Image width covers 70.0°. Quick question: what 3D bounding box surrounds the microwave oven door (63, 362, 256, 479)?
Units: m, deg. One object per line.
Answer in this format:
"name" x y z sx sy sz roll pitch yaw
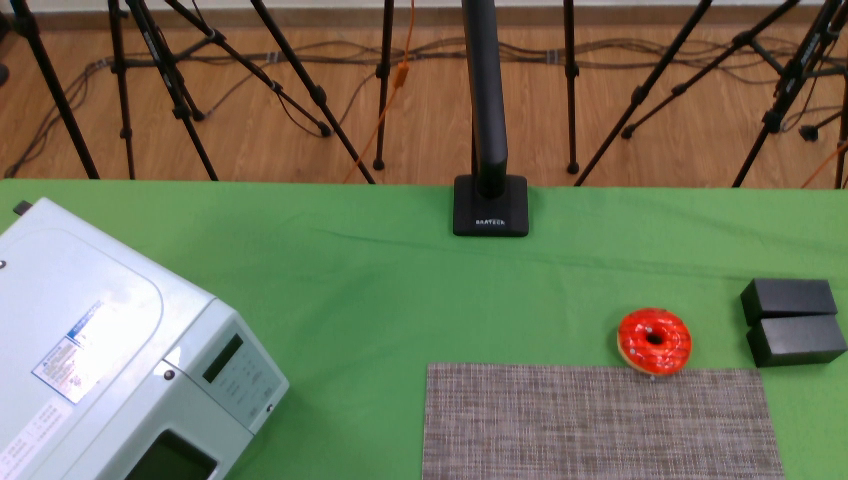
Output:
"microwave oven door" -0.330 0.313 0.620 0.039 0.246 0.354 25 63 18

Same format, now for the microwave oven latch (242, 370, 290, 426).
"microwave oven latch" -0.210 0.204 0.799 0.030 0.030 0.079 28 65 18

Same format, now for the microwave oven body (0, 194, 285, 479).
"microwave oven body" -0.434 0.225 0.686 0.324 0.262 0.440 26 64 17

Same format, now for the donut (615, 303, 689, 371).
"donut" 0.311 0.133 0.829 0.099 0.049 0.098 -3 55 5
